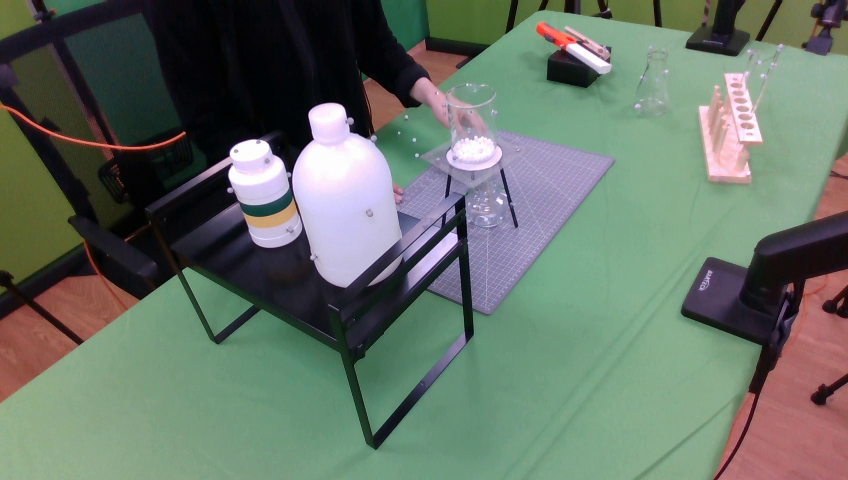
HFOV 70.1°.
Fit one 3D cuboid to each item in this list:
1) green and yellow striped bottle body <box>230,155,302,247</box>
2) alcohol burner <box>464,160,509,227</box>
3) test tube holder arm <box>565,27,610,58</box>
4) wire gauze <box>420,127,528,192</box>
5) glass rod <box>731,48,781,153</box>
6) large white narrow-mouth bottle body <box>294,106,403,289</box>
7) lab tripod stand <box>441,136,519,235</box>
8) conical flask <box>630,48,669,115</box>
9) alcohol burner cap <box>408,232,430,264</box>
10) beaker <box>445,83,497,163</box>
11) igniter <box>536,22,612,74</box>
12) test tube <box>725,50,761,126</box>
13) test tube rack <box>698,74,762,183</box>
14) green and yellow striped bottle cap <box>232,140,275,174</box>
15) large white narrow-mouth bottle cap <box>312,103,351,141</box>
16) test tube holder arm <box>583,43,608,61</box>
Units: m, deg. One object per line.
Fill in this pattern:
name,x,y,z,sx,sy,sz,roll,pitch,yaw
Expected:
green and yellow striped bottle body,-0.188,-0.055,0.714,0.063,0.120,0.063,-4,41,4
alcohol burner,0.102,-0.081,0.982,0.078,0.119,0.077,-4,43,4
test tube holder arm,0.369,-0.450,1.373,0.013,0.015,0.177,-39,41,10
wire gauze,0.076,-0.131,0.927,0.122,0.011,0.124,-34,49,-25
glass rod,0.554,-0.228,1.014,0.008,0.200,0.008,1,44,-1
large white narrow-mouth bottle body,-0.082,-0.047,0.634,0.102,0.195,0.101,-4,40,4
lab tripod stand,0.083,-0.086,0.976,0.148,0.132,0.147,-4,43,4
conical flask,0.456,-0.317,1.205,0.075,0.122,0.075,-4,41,4
alcohol burner cap,-0.010,0.010,0.947,0.034,0.048,0.033,-4,41,4
beaker,0.073,-0.175,0.904,0.074,0.101,0.084,3,41,13
igniter,0.330,-0.439,1.366,0.057,0.025,0.274,-11,41,-20
test tube,0.570,-0.269,1.086,0.017,0.151,0.017,-1,45,2
test tube rack,0.547,-0.208,1.095,0.066,0.085,0.242,5,42,15
green and yellow striped bottle cap,-0.192,-0.094,0.680,0.045,0.020,0.045,-5,39,5
large white narrow-mouth bottle cap,-0.089,-0.113,0.579,0.038,0.024,0.037,-4,40,3
test tube holder arm,0.379,-0.420,1.341,0.010,0.015,0.087,-39,41,10
